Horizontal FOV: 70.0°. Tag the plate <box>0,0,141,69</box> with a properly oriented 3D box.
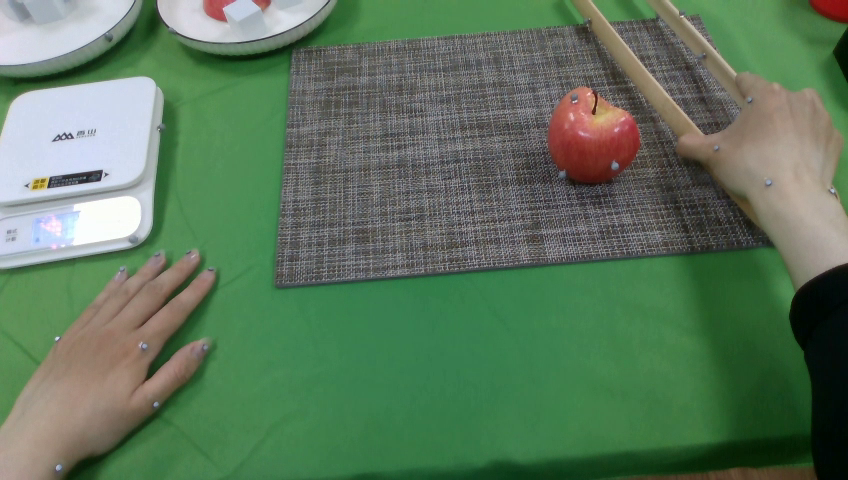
[{"bbox_3d":[-0.423,-0.263,0.691,0.207,0.039,0.205,-1,57,2],"label":"plate"}]

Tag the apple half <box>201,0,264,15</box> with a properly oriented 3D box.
[{"bbox_3d":[-0.219,-0.293,0.694,0.081,0.033,0.080,-3,55,5],"label":"apple half"}]

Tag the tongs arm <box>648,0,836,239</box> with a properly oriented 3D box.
[{"bbox_3d":[0.267,-0.162,0.584,0.051,0.027,0.380,-19,57,-6],"label":"tongs arm"}]

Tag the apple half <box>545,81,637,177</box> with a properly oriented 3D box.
[{"bbox_3d":[0.136,-0.089,0.526,0.053,0.075,0.080,-39,67,-16],"label":"apple half"}]

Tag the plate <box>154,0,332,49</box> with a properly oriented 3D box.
[{"bbox_3d":[-0.198,-0.286,0.694,0.209,0.038,0.207,-1,57,2],"label":"plate"}]

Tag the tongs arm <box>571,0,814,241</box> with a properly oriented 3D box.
[{"bbox_3d":[0.227,-0.149,0.581,0.028,0.028,0.383,-18,57,-9],"label":"tongs arm"}]

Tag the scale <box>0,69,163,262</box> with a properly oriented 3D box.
[{"bbox_3d":[-0.327,-0.077,0.570,0.149,0.032,0.199,-9,58,-3],"label":"scale"}]
